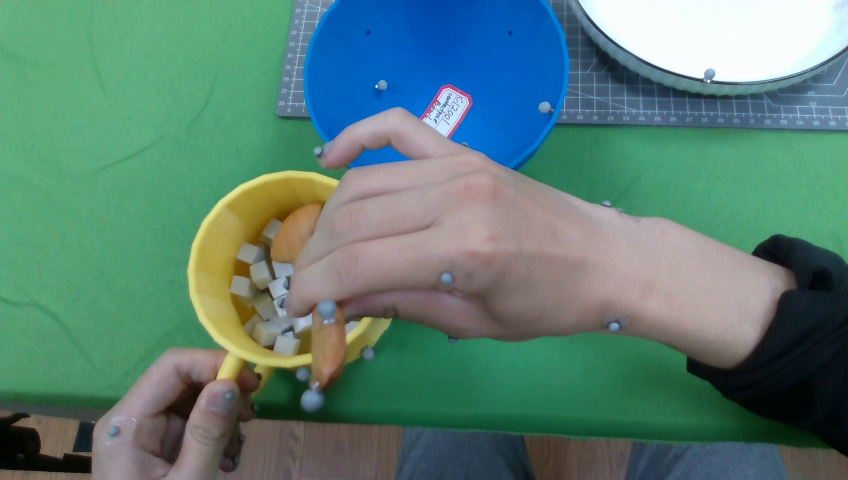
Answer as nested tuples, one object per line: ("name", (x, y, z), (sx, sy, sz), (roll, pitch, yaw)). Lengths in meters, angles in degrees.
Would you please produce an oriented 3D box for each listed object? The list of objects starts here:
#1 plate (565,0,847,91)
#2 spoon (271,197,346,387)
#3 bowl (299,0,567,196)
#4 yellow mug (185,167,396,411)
("plate", (0.193, -0.188, 0.414), (0.209, 0.038, 0.207), (-1, 71, 4))
("spoon", (-0.048, 0.013, 0.261), (0.022, 0.192, 0.041), (42, 91, -24))
("bowl", (0.007, -0.088, 0.374), (0.151, 0.077, 0.150), (-1, 75, 5))
("yellow mug", (-0.074, 0.032, 0.325), (0.100, 0.064, 0.130), (26, 79, 6))
